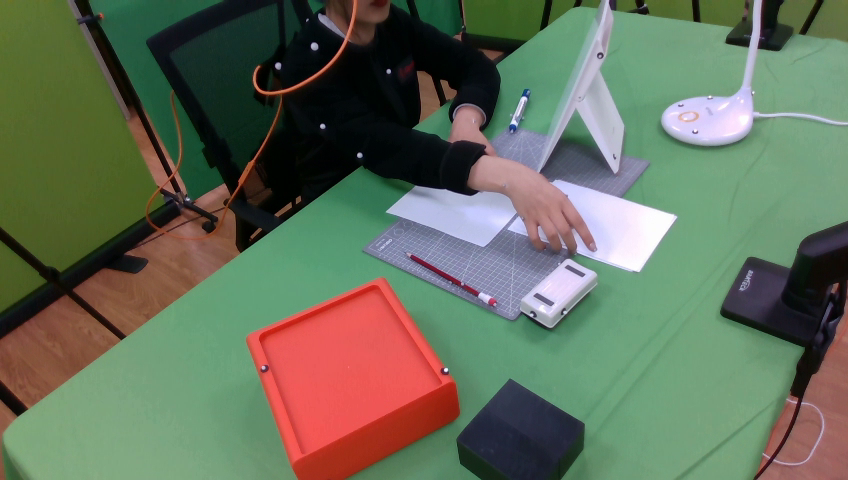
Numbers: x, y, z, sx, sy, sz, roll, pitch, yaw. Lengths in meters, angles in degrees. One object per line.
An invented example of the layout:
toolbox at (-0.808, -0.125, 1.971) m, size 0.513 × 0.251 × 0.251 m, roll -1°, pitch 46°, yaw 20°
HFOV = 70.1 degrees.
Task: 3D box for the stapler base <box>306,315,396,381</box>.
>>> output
stapler base at (-0.101, 0.139, 0.819) m, size 0.131 × 0.024 × 0.041 m, roll -31°, pitch 37°, yaw -13°

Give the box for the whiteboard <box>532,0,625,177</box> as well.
whiteboard at (0.321, -0.258, 1.050) m, size 0.144 × 0.306 × 0.217 m, roll 21°, pitch 45°, yaw 5°

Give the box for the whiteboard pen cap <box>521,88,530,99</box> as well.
whiteboard pen cap at (0.218, -0.312, 1.301) m, size 0.018 × 0.018 × 0.033 m, roll 6°, pitch 46°, yaw 18°

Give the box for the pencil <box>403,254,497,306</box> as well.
pencil at (0.034, 0.057, 0.914) m, size 0.192 × 0.012 × 0.012 m, roll 26°, pitch 52°, yaw 38°

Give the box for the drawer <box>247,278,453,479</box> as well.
drawer at (-0.096, 0.167, 0.758) m, size 0.195 × 0.073 × 0.210 m, roll -22°, pitch 43°, yaw -16°

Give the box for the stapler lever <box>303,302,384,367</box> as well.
stapler lever at (-0.108, 0.124, 0.805) m, size 0.118 × 0.040 × 0.026 m, roll -27°, pitch 36°, yaw -15°

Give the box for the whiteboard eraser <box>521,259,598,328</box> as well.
whiteboard eraser at (0.189, 0.076, 0.843) m, size 0.055 × 0.042 × 0.113 m, roll 29°, pitch 53°, yaw 37°

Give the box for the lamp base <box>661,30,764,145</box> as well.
lamp base at (0.535, -0.287, 1.096) m, size 0.179 × 0.181 × 0.159 m, roll -10°, pitch 40°, yaw -4°

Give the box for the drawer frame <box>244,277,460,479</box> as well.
drawer frame at (-0.093, 0.167, 0.755) m, size 0.202 × 0.083 × 0.211 m, roll -23°, pitch 43°, yaw -17°

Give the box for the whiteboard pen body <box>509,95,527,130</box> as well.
whiteboard pen body at (0.199, -0.272, 1.262) m, size 0.017 × 0.017 × 0.140 m, roll 8°, pitch 44°, yaw 19°
